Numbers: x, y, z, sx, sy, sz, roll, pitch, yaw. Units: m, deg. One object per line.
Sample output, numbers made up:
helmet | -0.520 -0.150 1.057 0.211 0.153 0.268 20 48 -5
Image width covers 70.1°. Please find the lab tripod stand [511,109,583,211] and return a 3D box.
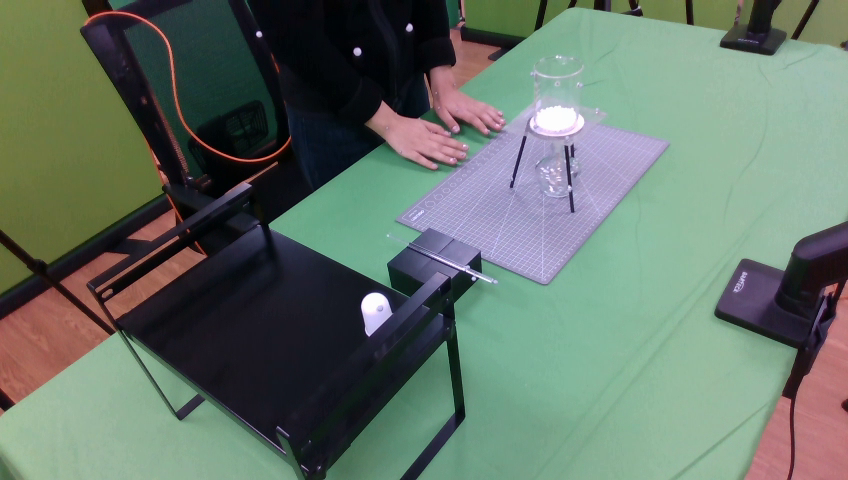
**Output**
lab tripod stand | 0.220 -0.138 1.014 0.148 0.132 0.147 -3 41 3

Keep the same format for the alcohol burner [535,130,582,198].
alcohol burner | 0.227 -0.132 1.021 0.078 0.119 0.077 -6 40 5

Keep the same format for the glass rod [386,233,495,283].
glass rod | 0.020 0.025 0.880 0.198 0.008 0.008 23 49 32

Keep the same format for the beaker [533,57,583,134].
beaker | 0.208 -0.225 0.941 0.073 0.101 0.084 11 44 20

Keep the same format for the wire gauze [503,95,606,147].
wire gauze | 0.212 -0.191 0.976 0.120 0.011 0.125 24 52 33

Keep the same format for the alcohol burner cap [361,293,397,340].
alcohol burner cap | -0.046 0.073 0.601 0.034 0.048 0.033 -5 41 5
